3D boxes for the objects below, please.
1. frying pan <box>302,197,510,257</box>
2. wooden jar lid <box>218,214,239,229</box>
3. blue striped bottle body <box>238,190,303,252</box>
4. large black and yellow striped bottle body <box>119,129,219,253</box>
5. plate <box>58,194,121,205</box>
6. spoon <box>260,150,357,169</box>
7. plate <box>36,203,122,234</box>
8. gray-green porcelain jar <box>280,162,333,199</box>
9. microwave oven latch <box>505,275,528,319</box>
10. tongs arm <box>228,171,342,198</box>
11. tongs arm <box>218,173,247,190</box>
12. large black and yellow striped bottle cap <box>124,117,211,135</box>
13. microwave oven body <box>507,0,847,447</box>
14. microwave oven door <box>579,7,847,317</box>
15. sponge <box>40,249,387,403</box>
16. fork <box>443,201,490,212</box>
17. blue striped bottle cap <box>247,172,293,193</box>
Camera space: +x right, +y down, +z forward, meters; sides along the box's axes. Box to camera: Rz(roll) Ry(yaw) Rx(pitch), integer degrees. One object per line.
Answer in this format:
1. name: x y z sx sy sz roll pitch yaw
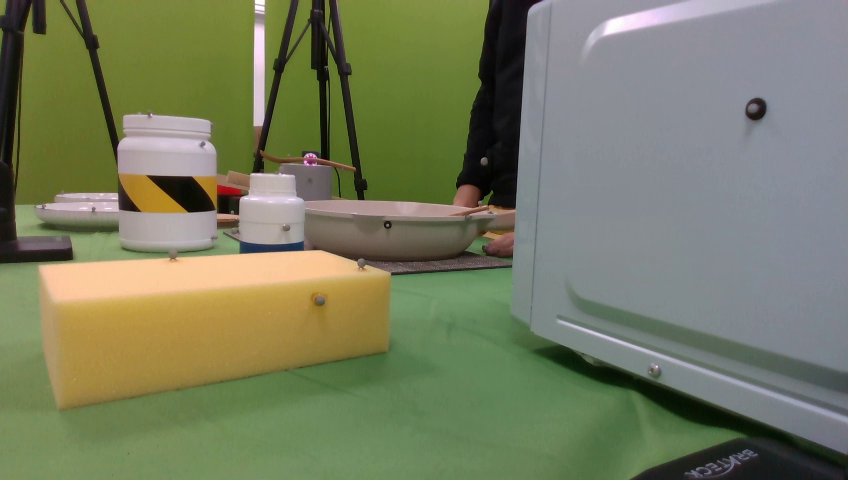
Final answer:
1. frying pan: 0.050 -0.035 0.915 0.487 0.102 0.307 -5 7 10
2. wooden jar lid: -0.404 -0.037 1.169 0.108 0.020 0.108 3 7 0
3. blue striped bottle body: -0.153 -0.007 0.606 0.063 0.120 0.063 2 8 0
4. large black and yellow striped bottle body: -0.367 -0.080 0.876 0.131 0.184 0.130 2 7 0
5. plate: -0.671 -0.074 1.310 0.209 0.038 0.209 2 8 0
6. spoon: -0.231 -0.162 1.221 0.194 0.021 0.041 3 3 -16
7. plate: -0.571 -0.040 1.083 0.208 0.039 0.207 2 8 0
8. gray-green porcelain jar: -0.238 -0.092 1.221 0.106 0.126 0.106 2 7 0
9. microwave oven latch: 0.100 0.042 0.471 0.079 0.029 0.030 -1 7 -29
10. tongs arm: -0.267 -0.103 1.378 0.387 0.026 0.050 11 -3 -40
11. tongs arm: -0.315 -0.110 1.448 0.389 0.027 0.028 11 -7 -26
12. large black and yellow striped bottle cap: -0.366 -0.163 0.866 0.115 0.019 0.115 3 7 0
13. microwave oven body: 0.331 -0.042 0.425 0.444 0.260 0.324 -2 8 -31
14. microwave oven door: 0.295 -0.067 0.570 0.358 0.243 0.039 -3 9 -31
15. sponge: -0.142 0.047 0.420 0.208 0.061 0.117 -3 8 -36
16. fork: -0.006 -0.020 0.852 0.207 0.018 0.028 -22 -4 10
17. blue striped bottle cap: -0.152 -0.057 0.598 0.044 0.020 0.044 3 7 0
